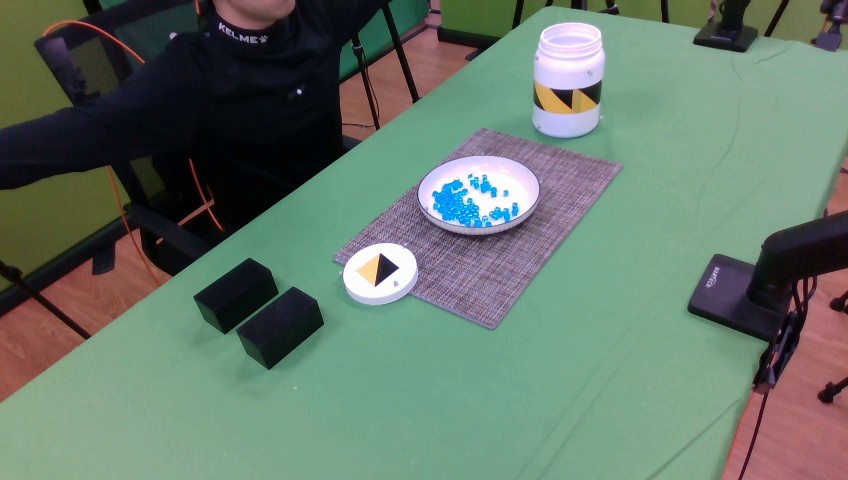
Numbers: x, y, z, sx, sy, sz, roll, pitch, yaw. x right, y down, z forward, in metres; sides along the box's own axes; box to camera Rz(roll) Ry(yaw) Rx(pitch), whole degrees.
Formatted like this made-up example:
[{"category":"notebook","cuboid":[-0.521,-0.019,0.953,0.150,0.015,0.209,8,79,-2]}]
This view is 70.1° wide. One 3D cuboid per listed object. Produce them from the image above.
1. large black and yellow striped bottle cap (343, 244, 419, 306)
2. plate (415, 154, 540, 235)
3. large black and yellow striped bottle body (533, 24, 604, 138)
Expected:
[{"category":"large black and yellow striped bottle cap","cuboid":[-0.066,0.051,0.918,0.115,0.019,0.114,-6,43,6]},{"category":"plate","cuboid":[0.090,-0.074,1.025,0.207,0.039,0.206,-4,41,4]},{"category":"large black and yellow striped bottle body","cuboid":[0.275,-0.304,1.160,0.131,0.185,0.130,-4,41,4]}]
